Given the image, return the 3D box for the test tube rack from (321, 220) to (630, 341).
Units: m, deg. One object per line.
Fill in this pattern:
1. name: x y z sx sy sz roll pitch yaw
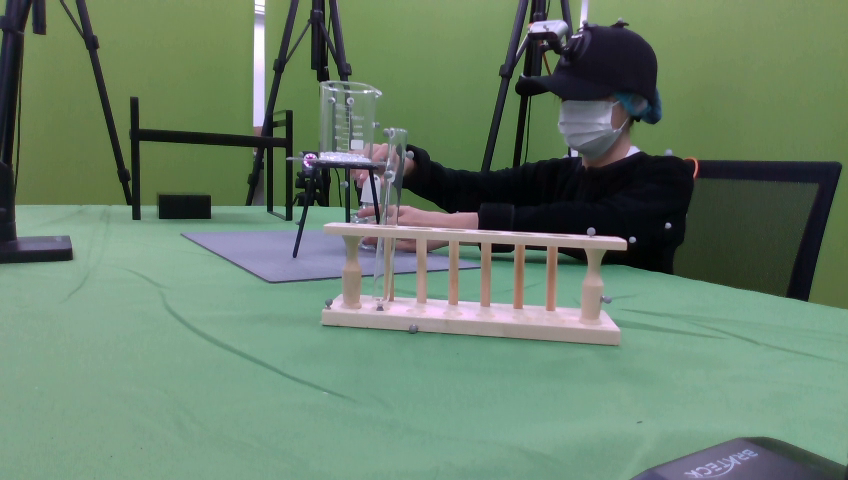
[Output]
1. test tube rack: 0.041 0.029 0.512 0.242 0.085 0.067 3 7 5

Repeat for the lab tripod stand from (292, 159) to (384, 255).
1. lab tripod stand: -0.105 -0.039 0.797 0.148 0.131 0.148 2 5 0

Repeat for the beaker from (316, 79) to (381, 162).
1. beaker: -0.098 -0.151 0.778 0.084 0.100 0.074 4 7 6

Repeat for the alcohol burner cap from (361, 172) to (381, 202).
1. alcohol burner cap: -0.081 -0.083 0.949 0.034 0.048 0.034 6 8 0

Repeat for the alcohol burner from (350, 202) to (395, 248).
1. alcohol burner: -0.084 -0.048 0.953 0.078 0.119 0.078 1 6 0

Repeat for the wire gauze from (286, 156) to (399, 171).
1. wire gauze: -0.101 -0.103 0.788 0.121 0.011 0.125 5 4 6

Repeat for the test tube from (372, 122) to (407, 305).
1. test tube: -0.029 -0.020 0.493 0.017 0.150 0.017 6 9 -1
